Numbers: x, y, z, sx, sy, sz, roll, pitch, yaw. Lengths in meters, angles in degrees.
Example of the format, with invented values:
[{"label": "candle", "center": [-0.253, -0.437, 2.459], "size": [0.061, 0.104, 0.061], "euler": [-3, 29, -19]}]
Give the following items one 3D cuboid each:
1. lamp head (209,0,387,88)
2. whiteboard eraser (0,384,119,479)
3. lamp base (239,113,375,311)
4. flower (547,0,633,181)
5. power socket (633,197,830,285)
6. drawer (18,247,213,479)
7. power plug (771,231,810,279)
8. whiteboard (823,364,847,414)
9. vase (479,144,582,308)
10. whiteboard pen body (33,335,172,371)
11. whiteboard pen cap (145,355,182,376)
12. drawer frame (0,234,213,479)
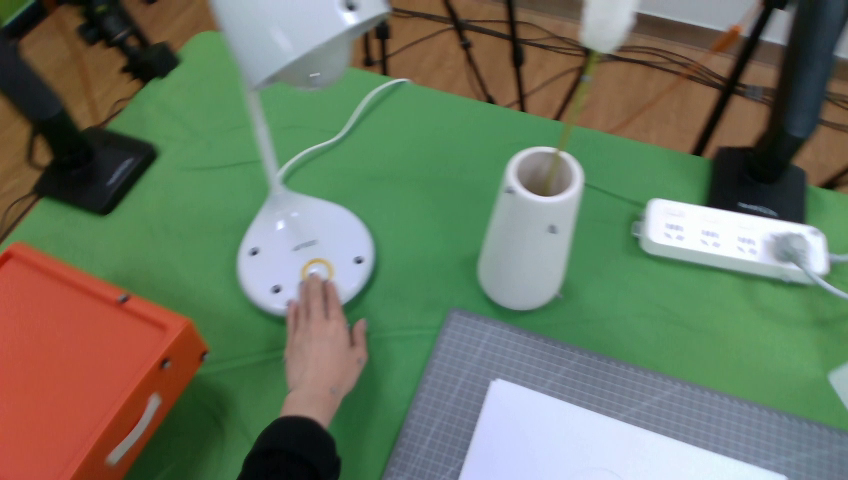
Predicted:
[{"label": "lamp head", "center": [-0.102, -0.180, 0.413], "size": [0.112, 0.112, 0.123], "euler": [-38, 102, -23]}, {"label": "whiteboard eraser", "center": [-0.338, 0.174, 0.549], "size": [0.112, 0.042, 0.055], "euler": [13, 50, 16]}, {"label": "lamp base", "center": [-0.146, -0.038, 0.665], "size": [0.160, 0.182, 0.177], "euler": [-30, 59, -19]}, {"label": "flower", "center": [0.123, -0.068, 0.578], "size": [0.038, 0.364, 0.043], "euler": [8, 38, -3]}, {"label": "power socket", "center": [0.372, 0.000, 0.735], "size": [0.226, 0.033, 0.071], "euler": [12, 58, 7]}, {"label": "drawer", "center": [-0.344, 0.124, 0.562], "size": [0.211, 0.074, 0.193], "euler": [21, 59, 13]}, {"label": "power plug", "center": [0.415, 0.021, 0.693], "size": [0.035, 0.053, 0.072], "euler": [21, 60, 14]}, {"label": "whiteboard", "center": [0.570, 0.145, 0.513], "size": [0.144, 0.307, 0.215], "euler": [0, 53, -23]}, {"label": "vase", "center": [0.111, -0.010, 0.639], "size": [0.098, 0.202, 0.097], "euler": [0, 55, 1]}, {"label": "whiteboard pen body", "center": [-0.315, 0.113, 0.594], "size": [0.141, 0.017, 0.017], "euler": [11, 56, 4]}, {"label": "whiteboard pen cap", "center": [-0.255, 0.123, 0.590], "size": [0.033, 0.018, 0.018], "euler": [8, 56, 12]}, {"label": "drawer frame", "center": [-0.351, 0.124, 0.565], "size": [0.213, 0.083, 0.200], "euler": [22, 59, 11]}]
